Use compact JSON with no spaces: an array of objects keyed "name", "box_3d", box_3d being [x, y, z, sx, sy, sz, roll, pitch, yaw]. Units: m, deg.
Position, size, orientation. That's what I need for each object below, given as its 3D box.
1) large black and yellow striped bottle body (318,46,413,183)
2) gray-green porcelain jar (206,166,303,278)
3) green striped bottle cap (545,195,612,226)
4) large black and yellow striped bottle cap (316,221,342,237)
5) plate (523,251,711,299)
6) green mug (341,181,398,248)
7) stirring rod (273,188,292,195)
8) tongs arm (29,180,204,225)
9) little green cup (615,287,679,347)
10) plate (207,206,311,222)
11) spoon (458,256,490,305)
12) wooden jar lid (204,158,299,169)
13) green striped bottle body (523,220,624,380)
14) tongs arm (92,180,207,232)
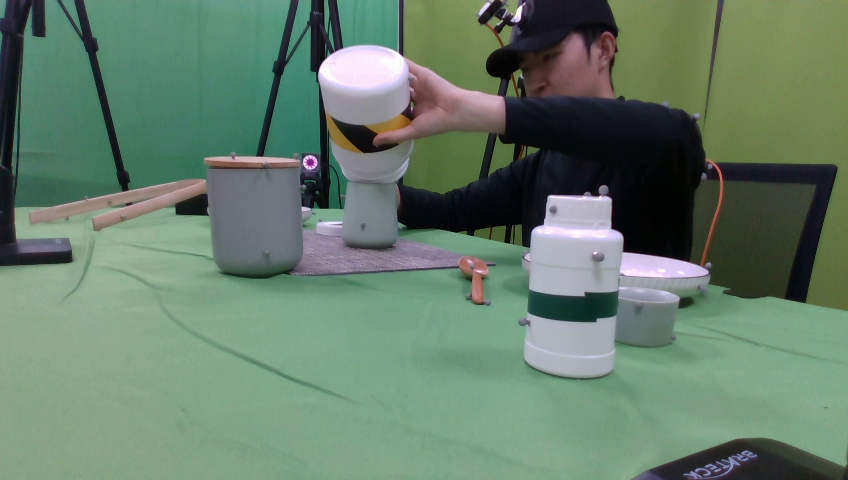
[{"name":"large black and yellow striped bottle body","box_3d":[-0.084,-0.185,0.924,0.131,0.184,0.130,-1,45,2]},{"name":"gray-green porcelain jar","box_3d":[-0.201,-0.024,0.724,0.106,0.126,0.106,-1,9,1]},{"name":"green striped bottle cap","box_3d":[0.106,-0.020,0.414,0.044,0.020,0.044,2,4,0]},{"name":"large black and yellow striped bottle cap","box_3d":[-0.147,-0.021,1.147,0.115,0.019,0.115,2,9,0]},{"name":"plate","box_3d":[0.219,0.041,0.706,0.209,0.038,0.209,2,7,0]},{"name":"green mug","box_3d":[-0.090,-0.044,0.996,0.093,0.105,0.125,1,7,-10]},{"name":"stirring rod","box_3d":[-0.354,-0.122,1.519,0.006,0.014,0.176,2,6,1]},{"name":"tongs arm","box_3d":[-0.609,-0.083,1.245,0.050,0.026,0.386,5,16,23]},{"name":"little green cup","box_3d":[0.180,0.064,0.506,0.061,0.038,0.061,2,8,0]},{"name":"plate","box_3d":[-0.342,-0.050,1.259,0.208,0.039,0.207,3,7,0]},{"name":"spoon","box_3d":[0.059,0.044,0.695,0.041,0.021,0.194,17,7,1]},{"name":"wooden jar lid","box_3d":[-0.202,-0.086,0.714,0.108,0.020,0.108,3,11,0]},{"name":"green striped bottle body","box_3d":[0.104,0.031,0.422,0.063,0.119,0.063,2,7,0]},{"name":"tongs arm","box_3d":[-0.534,-0.076,1.221,0.028,0.028,0.388,-2,15,12]}]
